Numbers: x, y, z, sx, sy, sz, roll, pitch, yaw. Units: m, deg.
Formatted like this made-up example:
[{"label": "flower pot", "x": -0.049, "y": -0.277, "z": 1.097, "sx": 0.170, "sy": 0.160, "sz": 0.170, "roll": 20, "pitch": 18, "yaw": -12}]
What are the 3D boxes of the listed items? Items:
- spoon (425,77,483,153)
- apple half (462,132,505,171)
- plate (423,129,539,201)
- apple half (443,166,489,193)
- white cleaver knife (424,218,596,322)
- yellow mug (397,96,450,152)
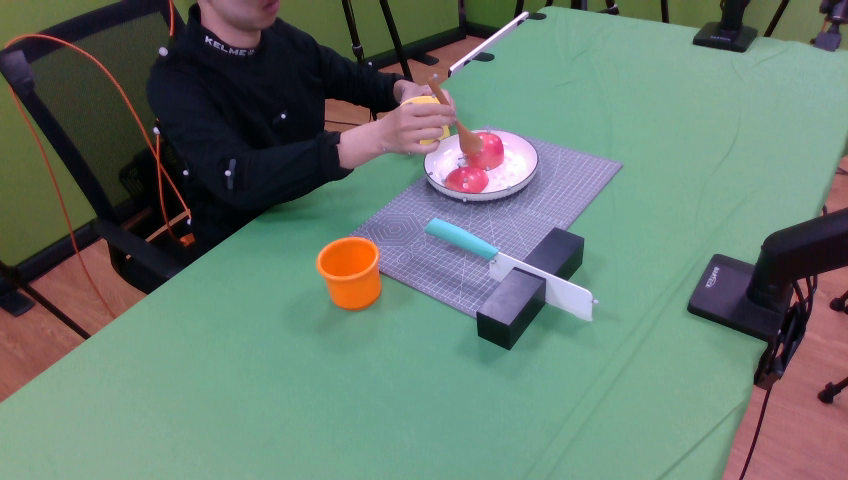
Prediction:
[{"label": "spoon", "x": 0.047, "y": -0.198, "z": 0.977, "sx": 0.041, "sy": 0.195, "sz": 0.021, "roll": -29, "pitch": 49, "yaw": 14}, {"label": "apple half", "x": 0.109, "y": -0.170, "z": 1.110, "sx": 0.075, "sy": 0.053, "sz": 0.080, "roll": -6, "pitch": 40, "yaw": -2}, {"label": "plate", "x": 0.103, "y": -0.132, "z": 1.092, "sx": 0.209, "sy": 0.038, "sz": 0.208, "roll": -4, "pitch": 40, "yaw": 4}, {"label": "apple half", "x": 0.074, "y": -0.112, "z": 1.063, "sx": 0.081, "sy": 0.033, "sz": 0.081, "roll": -6, "pitch": 39, "yaw": 5}, {"label": "white cleaver knife", "x": 0.114, "y": 0.042, "z": 0.865, "sx": 0.284, "sy": 0.066, "sz": 0.021, "roll": 27, "pitch": 47, "yaw": 28}, {"label": "yellow mug", "x": -0.004, "y": -0.226, "z": 1.200, "sx": 0.099, "sy": 0.064, "sz": 0.130, "roll": 5, "pitch": 43, "yaw": 15}]
